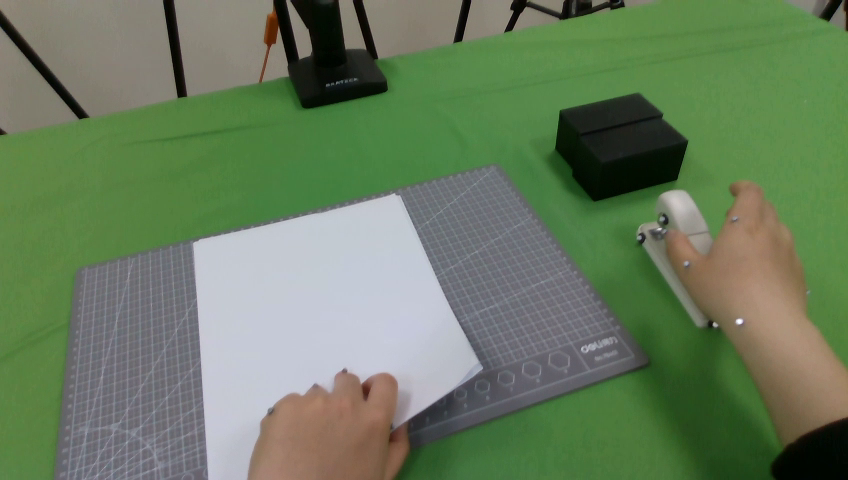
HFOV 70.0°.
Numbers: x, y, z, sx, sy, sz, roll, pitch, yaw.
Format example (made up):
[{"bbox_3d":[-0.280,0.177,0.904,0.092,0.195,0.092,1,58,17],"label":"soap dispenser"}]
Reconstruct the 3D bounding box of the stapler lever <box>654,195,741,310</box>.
[{"bbox_3d":[0.239,0.007,0.534,0.027,0.040,0.116,-11,44,-5],"label":"stapler lever"}]

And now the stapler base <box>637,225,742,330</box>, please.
[{"bbox_3d":[0.239,0.024,0.552,0.041,0.024,0.129,-10,44,-6],"label":"stapler base"}]
